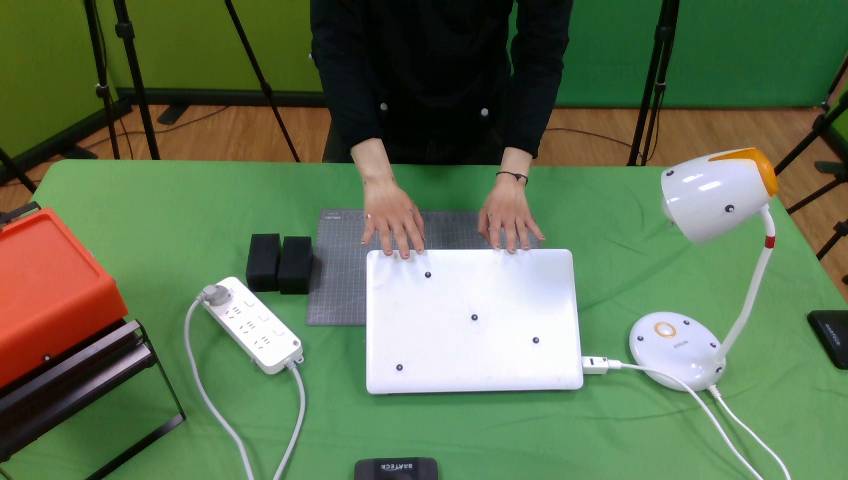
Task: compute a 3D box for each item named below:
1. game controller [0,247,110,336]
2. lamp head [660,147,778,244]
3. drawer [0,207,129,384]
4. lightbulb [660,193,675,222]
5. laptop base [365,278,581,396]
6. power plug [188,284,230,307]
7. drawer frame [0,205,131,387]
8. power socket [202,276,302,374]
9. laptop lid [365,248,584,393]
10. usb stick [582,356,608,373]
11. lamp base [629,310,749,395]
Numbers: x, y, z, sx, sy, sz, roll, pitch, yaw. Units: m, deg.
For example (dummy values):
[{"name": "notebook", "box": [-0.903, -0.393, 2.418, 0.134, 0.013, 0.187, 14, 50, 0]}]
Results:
[{"name": "game controller", "box": [-0.511, 0.063, 0.831, 0.097, 0.052, 0.154, -29, 57, -33]}, {"name": "lamp head", "box": [0.389, -0.063, 0.785, 0.123, 0.113, 0.112, -22, 33, 37]}, {"name": "drawer", "box": [-0.539, 0.074, 0.798, 0.193, 0.073, 0.211, 37, 55, 27]}, {"name": "lightbulb", "box": [0.368, -0.060, 0.808, 0.060, 0.107, 0.059, 20, 58, -36]}, {"name": "laptop base", "box": [0.077, 0.162, 1.054, 0.355, 0.023, 0.234, 0, 45, -4]}, {"name": "power plug", "box": [-0.368, 0.100, 1.036, 0.072, 0.053, 0.035, -26, 53, -24]}, {"name": "drawer frame", "box": [-0.540, 0.075, 0.795, 0.200, 0.083, 0.213, 36, 54, 26]}, {"name": "power socket", "box": [-0.296, 0.142, 1.034, 0.072, 0.033, 0.225, -34, 58, -31]}, {"name": "laptop lid", "box": [0.081, 0.127, 0.992, 0.357, 0.013, 0.240, 1, 75, -4]}, {"name": "usb stick", "box": [0.274, 0.207, 1.008, 0.059, 0.027, 0.021, 0, 52, 1]}, {"name": "lamp base", "box": [0.447, 0.142, 0.984, 0.161, 0.181, 0.178, -24, 55, -24]}]
